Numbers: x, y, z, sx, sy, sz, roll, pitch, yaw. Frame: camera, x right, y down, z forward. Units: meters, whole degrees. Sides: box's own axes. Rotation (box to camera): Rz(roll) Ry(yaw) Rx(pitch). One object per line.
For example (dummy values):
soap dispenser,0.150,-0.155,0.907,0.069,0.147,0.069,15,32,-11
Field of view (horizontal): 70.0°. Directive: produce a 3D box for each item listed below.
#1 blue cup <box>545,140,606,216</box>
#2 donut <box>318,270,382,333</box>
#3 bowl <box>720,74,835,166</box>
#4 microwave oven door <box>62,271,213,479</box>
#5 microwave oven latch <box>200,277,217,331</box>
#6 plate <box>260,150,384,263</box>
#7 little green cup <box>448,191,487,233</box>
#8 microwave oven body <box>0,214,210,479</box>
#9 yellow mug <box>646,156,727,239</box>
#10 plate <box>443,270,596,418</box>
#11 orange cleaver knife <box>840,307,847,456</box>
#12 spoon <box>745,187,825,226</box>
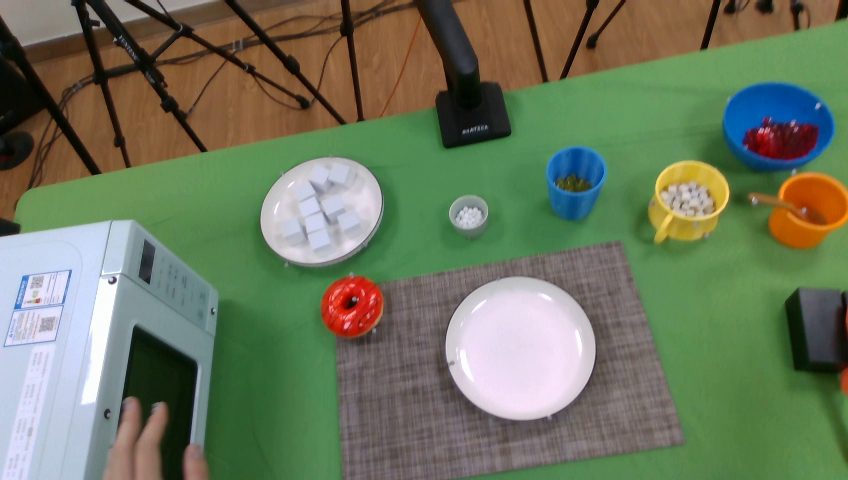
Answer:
blue cup,0.224,-0.086,0.911,0.092,0.101,0.092,-4,64,8
donut,-0.111,0.092,0.908,0.099,0.048,0.098,-5,64,10
bowl,0.518,-0.166,0.912,0.151,0.077,0.150,-4,63,9
microwave oven door,-0.343,0.246,0.742,0.039,0.246,0.352,-8,62,6
microwave oven latch,-0.338,0.099,0.932,0.030,0.030,0.078,-5,63,7
plate,-0.165,-0.053,0.999,0.207,0.039,0.206,-4,63,8
little green cup,0.070,-0.042,0.952,0.061,0.039,0.061,-4,62,9
microwave oven body,-0.488,0.231,0.782,0.326,0.262,0.437,-7,63,6
yellow mug,0.374,-0.053,0.887,0.099,0.064,0.130,36,75,24
plate,0.131,0.144,0.842,0.209,0.038,0.207,-4,63,8
orange cleaver knife,0.526,0.163,0.741,0.012,0.077,0.211,3,93,14
spoon,0.490,-0.050,0.818,0.021,0.195,0.041,-39,50,41
